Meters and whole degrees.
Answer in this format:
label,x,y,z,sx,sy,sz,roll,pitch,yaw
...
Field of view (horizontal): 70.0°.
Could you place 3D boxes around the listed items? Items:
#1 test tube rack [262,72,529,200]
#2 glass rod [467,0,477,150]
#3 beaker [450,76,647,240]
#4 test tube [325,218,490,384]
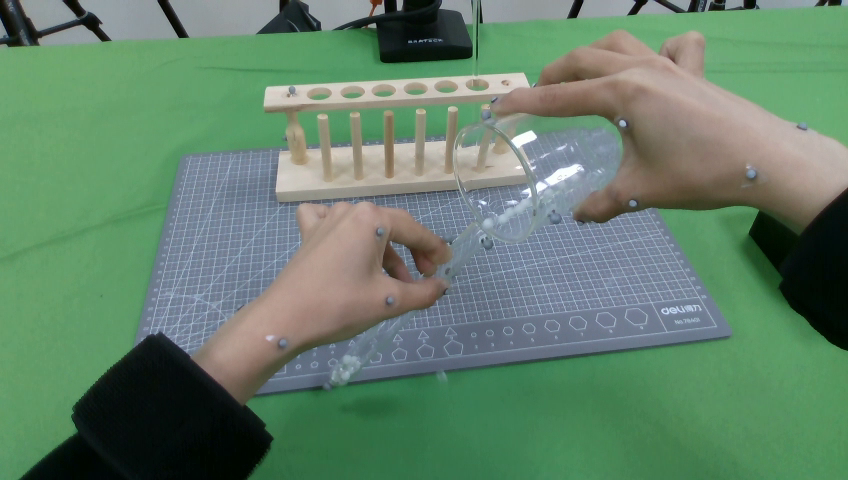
label,x,y,z,sx,sy,sz,roll,pitch,yaw
test tube rack,-0.024,-0.099,0.575,0.243,0.086,0.066,-4,45,-5
glass rod,0.044,-0.173,0.556,0.008,0.201,0.008,-1,38,1
beaker,0.077,-0.051,0.368,0.100,0.084,0.073,-26,63,-25
test tube,-0.014,0.043,0.396,0.150,0.017,0.017,-46,48,14
